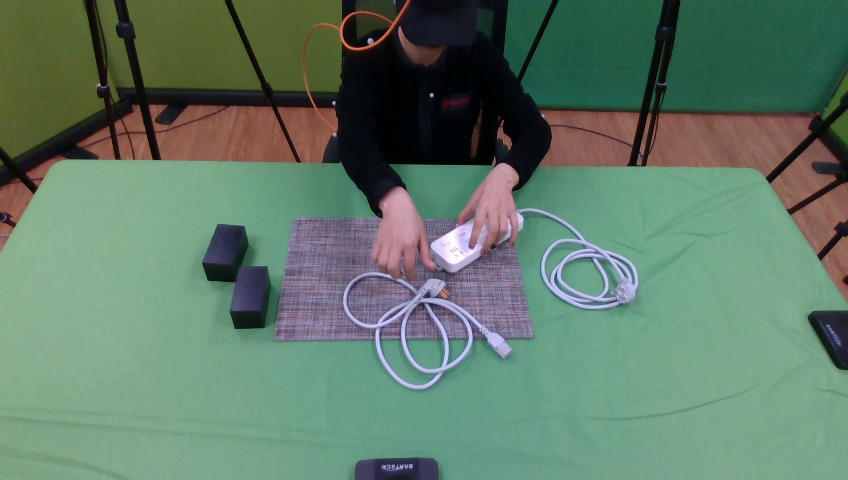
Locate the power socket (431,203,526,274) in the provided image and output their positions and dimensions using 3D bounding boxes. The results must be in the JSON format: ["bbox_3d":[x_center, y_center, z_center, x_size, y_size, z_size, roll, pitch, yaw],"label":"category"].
[{"bbox_3d":[0.110,-0.006,1.197,0.227,0.033,0.072,-30,55,-30],"label":"power socket"}]

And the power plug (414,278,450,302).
[{"bbox_3d":[0.014,0.100,1.091,0.053,0.035,0.072,40,65,-4],"label":"power plug"}]
